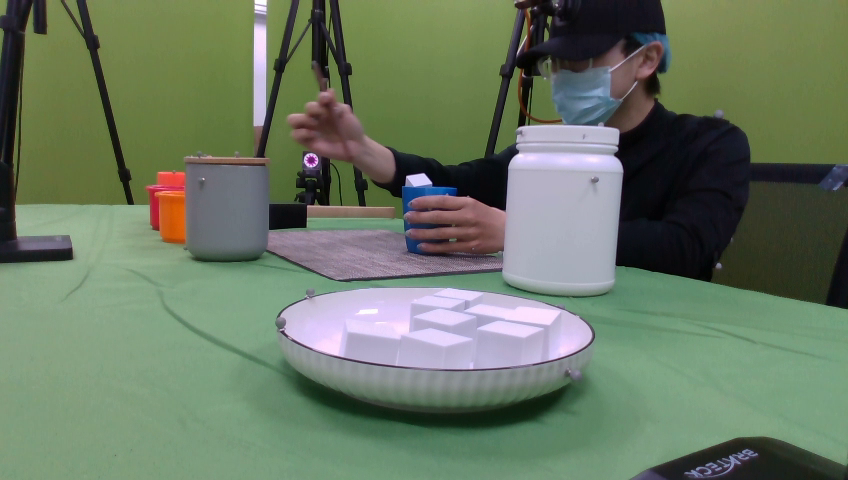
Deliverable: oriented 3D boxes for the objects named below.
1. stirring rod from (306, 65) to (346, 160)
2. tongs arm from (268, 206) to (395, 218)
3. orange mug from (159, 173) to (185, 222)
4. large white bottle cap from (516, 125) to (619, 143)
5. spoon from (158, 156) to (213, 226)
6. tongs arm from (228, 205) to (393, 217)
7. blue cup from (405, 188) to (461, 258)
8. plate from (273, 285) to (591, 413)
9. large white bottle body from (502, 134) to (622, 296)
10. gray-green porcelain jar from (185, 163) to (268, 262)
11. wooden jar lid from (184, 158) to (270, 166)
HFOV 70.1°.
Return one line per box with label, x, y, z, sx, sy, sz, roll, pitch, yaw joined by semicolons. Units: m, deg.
stirring rod;-0.154;-0.202;0.947;0.006;0.175;0.014;-13;-20;-31
tongs arm;-0.230;-0.064;1.379;0.387;0.026;0.050;-1;2;-31
orange mug;-0.477;-0.089;1.241;0.127;0.101;0.083;-7;11;-33
large white bottle cap;0.164;-0.120;0.695;0.115;0.018;0.115;2;7;0
spoon;-0.435;-0.094;1.121;0.041;0.022;0.193;5;51;13
tongs arm;-0.267;-0.069;1.453;0.389;0.027;0.028;0;-2;-18
blue cup;0.011;-0.026;0.921;0.093;0.100;0.092;4;8;0
plate;0.005;0.069;0.407;0.208;0.039;0.207;2;7;0
large white bottle body;0.161;-0.037;0.706;0.131;0.184;0.130;2;7;0
gray-green porcelain jar;-0.263;-0.038;0.808;0.106;0.126;0.106;3;8;0
wooden jar lid;-0.260;-0.099;0.801;0.108;0.020;0.108;0;9;0
